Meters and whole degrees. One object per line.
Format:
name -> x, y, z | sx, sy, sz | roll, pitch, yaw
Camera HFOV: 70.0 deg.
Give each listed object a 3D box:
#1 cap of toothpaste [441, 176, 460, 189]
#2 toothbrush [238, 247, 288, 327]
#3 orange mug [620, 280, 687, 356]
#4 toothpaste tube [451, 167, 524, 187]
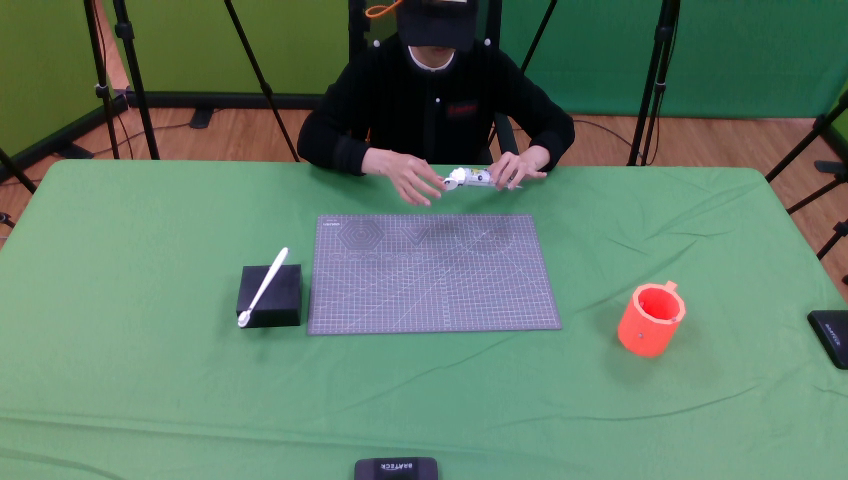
cap of toothpaste -> 0.050, -0.110, 1.148 | 0.037, 0.037, 0.011 | -4, 62, -8
toothbrush -> -0.274, 0.075, 1.040 | 0.014, 0.017, 0.181 | 11, 46, 10
orange mug -> 0.401, 0.125, 1.045 | 0.083, 0.101, 0.126 | 30, 56, 24
toothpaste tube -> 0.124, -0.123, 1.202 | 0.165, 0.034, 0.054 | -1, 41, -32
